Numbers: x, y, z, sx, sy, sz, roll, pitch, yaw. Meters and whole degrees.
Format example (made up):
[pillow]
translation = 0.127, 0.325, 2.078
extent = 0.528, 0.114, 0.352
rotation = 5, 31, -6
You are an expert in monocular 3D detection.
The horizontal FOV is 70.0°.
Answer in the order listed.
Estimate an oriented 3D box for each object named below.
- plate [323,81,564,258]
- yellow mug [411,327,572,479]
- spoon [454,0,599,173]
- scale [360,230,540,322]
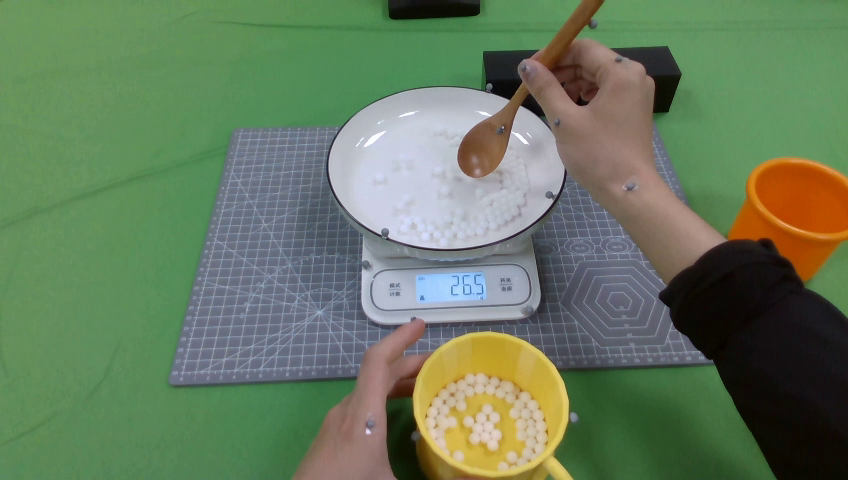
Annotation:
[plate]
translation = 0.016, -0.063, 0.535
extent = 0.209, 0.038, 0.207
rotation = 0, 51, 0
[yellow mug]
translation = 0.052, 0.127, 0.406
extent = 0.100, 0.064, 0.129
rotation = -36, 60, -24
[spoon]
translation = 0.077, -0.119, 0.466
extent = 0.021, 0.194, 0.041
rotation = -27, 74, -38
[scale]
translation = 0.018, -0.020, 0.542
extent = 0.149, 0.032, 0.199
rotation = -2, 52, -1
